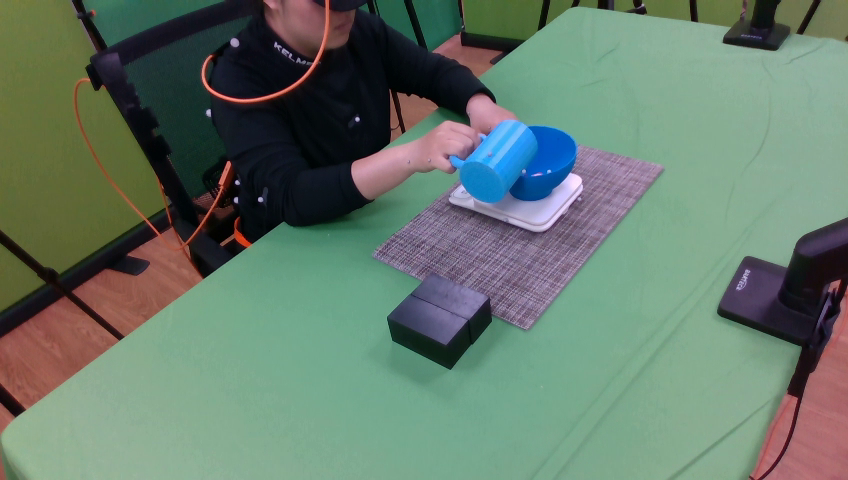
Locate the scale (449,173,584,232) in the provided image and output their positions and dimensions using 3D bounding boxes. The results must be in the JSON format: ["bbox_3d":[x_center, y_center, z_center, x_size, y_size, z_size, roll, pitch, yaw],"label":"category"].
[{"bbox_3d":[0.157,-0.085,1.040,0.199,0.032,0.149,22,49,33],"label":"scale"}]

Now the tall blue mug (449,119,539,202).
[{"bbox_3d":[0.099,-0.126,0.890,0.107,0.077,0.108,38,56,2],"label":"tall blue mug"}]

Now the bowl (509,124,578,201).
[{"bbox_3d":[0.176,-0.117,0.991,0.151,0.077,0.150,-6,41,5],"label":"bowl"}]
